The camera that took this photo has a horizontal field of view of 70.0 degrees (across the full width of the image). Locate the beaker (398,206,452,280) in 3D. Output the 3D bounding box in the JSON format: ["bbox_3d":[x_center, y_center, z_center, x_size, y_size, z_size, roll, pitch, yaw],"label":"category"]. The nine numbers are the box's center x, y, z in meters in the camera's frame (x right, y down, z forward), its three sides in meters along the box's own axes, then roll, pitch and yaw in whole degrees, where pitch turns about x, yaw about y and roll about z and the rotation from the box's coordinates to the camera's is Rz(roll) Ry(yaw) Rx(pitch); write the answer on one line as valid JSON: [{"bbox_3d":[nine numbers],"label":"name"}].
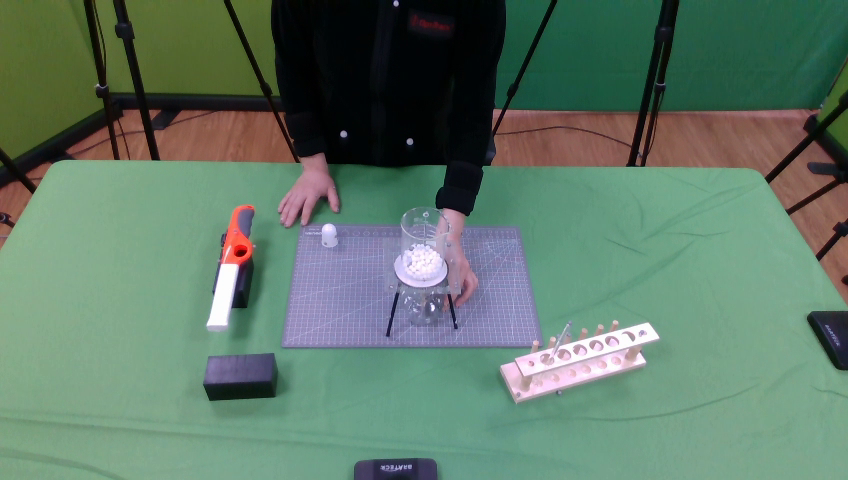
[{"bbox_3d":[0.000,0.009,0.950,0.084,0.101,0.073,10,45,6],"label":"beaker"}]

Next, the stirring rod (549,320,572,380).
[{"bbox_3d":[0.202,0.167,0.901,0.006,0.177,0.014,-17,55,-11],"label":"stirring rod"}]

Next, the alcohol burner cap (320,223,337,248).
[{"bbox_3d":[-0.187,-0.011,1.176,0.034,0.048,0.033,1,46,-1],"label":"alcohol burner cap"}]

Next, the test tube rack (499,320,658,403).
[{"bbox_3d":[0.252,0.187,0.994,0.243,0.085,0.066,-12,48,-15],"label":"test tube rack"}]

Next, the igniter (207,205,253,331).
[{"bbox_3d":[-0.339,0.038,1.066,0.057,0.025,0.274,2,48,-6],"label":"igniter"}]

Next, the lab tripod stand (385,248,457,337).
[{"bbox_3d":[-0.010,0.087,1.032,0.148,0.132,0.147,1,45,-1],"label":"lab tripod stand"}]

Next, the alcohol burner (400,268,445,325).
[{"bbox_3d":[-0.003,0.092,1.042,0.078,0.120,0.077,1,46,-1],"label":"alcohol burner"}]

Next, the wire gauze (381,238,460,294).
[{"bbox_3d":[-0.008,0.042,0.985,0.125,0.011,0.120,-1,43,-2],"label":"wire gauze"}]
